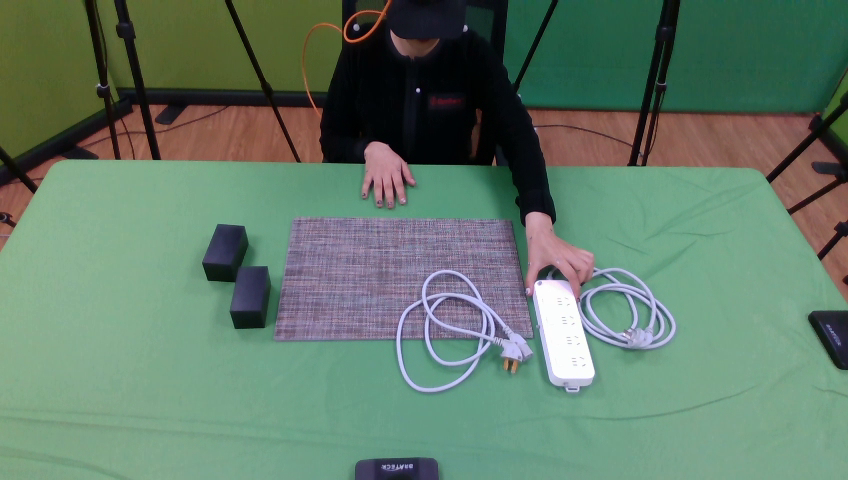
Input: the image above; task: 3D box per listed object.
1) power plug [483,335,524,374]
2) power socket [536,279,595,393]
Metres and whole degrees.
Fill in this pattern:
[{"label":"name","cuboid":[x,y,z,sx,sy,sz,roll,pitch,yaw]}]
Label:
[{"label":"power plug","cuboid":[0.132,0.193,1.019,0.072,0.035,0.052,7,68,25]},{"label":"power socket","cuboid":[0.243,0.156,1.052,0.072,0.033,0.225,-3,46,2]}]
